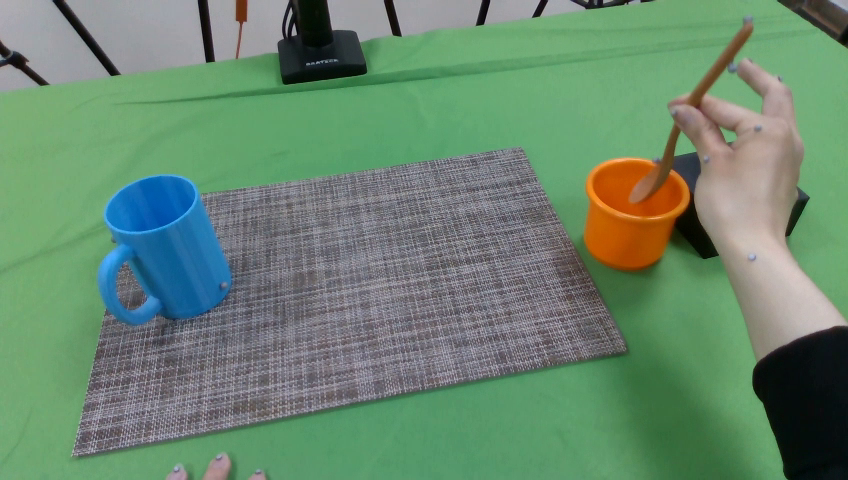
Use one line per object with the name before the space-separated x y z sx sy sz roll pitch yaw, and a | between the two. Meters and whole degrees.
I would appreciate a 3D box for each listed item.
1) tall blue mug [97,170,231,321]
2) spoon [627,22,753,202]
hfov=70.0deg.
tall blue mug | -0.224 0.014 0.530 0.078 0.109 0.106 -3 45 -1
spoon | 0.207 -0.093 0.488 0.021 0.195 0.041 24 59 12
